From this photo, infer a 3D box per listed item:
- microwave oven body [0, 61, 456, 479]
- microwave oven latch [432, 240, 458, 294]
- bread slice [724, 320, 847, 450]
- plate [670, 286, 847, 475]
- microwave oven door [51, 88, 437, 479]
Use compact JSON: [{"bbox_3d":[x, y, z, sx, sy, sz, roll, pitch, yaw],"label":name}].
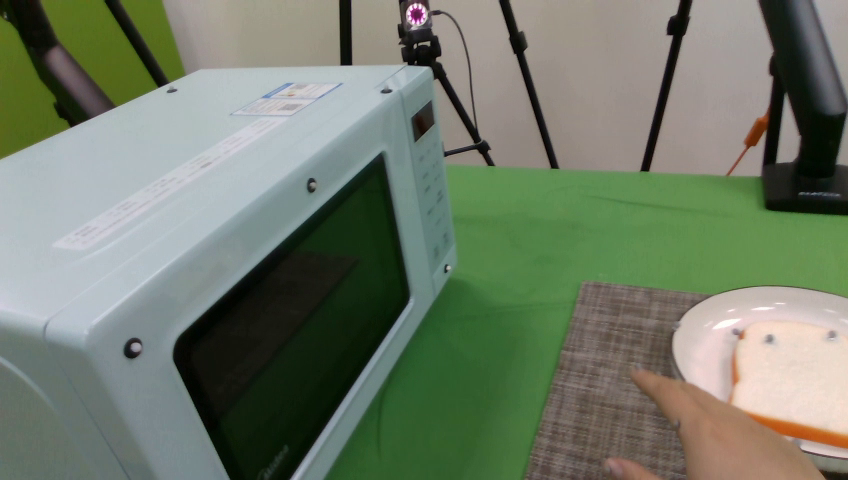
[{"bbox_3d":[-0.201,0.026,0.566,0.324,0.262,0.440,6,34,23],"label":"microwave oven body"},{"bbox_3d":[0.016,0.030,0.694,0.030,0.030,0.079,7,34,24],"label":"microwave oven latch"},{"bbox_3d":[0.311,0.114,0.505,0.104,0.019,0.131,7,35,25],"label":"bread slice"},{"bbox_3d":[0.314,0.112,0.503,0.209,0.038,0.207,-7,30,4],"label":"plate"},{"bbox_3d":[-0.084,0.055,0.474,0.039,0.246,0.354,5,33,23],"label":"microwave oven door"}]
